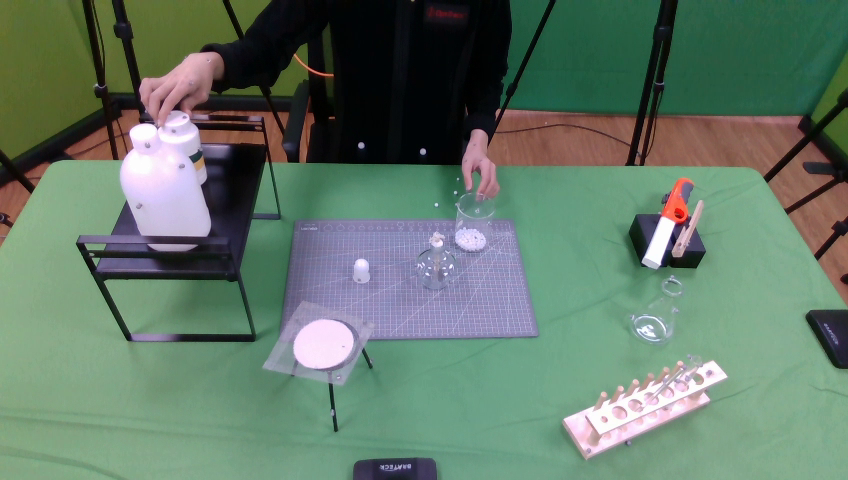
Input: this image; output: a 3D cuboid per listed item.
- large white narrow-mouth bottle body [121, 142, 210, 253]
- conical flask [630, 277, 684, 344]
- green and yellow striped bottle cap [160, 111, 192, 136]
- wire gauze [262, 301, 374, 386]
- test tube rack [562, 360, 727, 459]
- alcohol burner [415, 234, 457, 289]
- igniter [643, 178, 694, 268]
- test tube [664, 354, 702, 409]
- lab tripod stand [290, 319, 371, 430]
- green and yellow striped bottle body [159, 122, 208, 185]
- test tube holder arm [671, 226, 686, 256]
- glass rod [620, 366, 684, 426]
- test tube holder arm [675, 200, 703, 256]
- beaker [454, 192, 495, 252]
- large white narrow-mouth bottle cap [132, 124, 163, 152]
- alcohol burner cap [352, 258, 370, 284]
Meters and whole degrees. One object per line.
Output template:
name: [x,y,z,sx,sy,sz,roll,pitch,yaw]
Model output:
large white narrow-mouth bottle body: [-0.378,-0.077,0.875,0.102,0.195,0.101,3,46,-3]
conical flask: [0.408,0.117,1.045,0.075,0.122,0.075,2,46,-2]
green and yellow striped bottle cap: [-0.390,-0.184,0.951,0.045,0.020,0.045,6,43,-5]
wire gauze: [-0.150,0.148,0.873,0.121,0.011,0.124,14,46,12]
test tube rack: [0.341,0.247,0.940,0.243,0.085,0.066,-16,49,-18]
alcohol burner: [0.022,0.033,1.100,0.078,0.120,0.077,1,47,-1]
igniter: [0.488,-0.042,1.205,0.057,0.025,0.276,30,51,11]
test tube: [0.385,0.215,0.906,0.017,0.151,0.017,-1,49,1]
lab tripod stand: [-0.146,0.193,0.923,0.148,0.132,0.147,1,47,-1]
green and yellow striped bottle body: [-0.395,-0.148,0.988,0.063,0.120,0.063,4,44,-4]
test tube holder arm: [0.494,0.001,1.167,0.010,0.015,0.087,1,36,42]
glass rod: [0.322,0.227,0.866,0.008,0.200,0.008,6,51,-7]
test tube holder arm: [0.523,-0.025,1.190,0.013,0.015,0.178,1,36,41]
beaker: [0.097,-0.034,1.180,0.074,0.101,0.084,23,49,17]
large white narrow-mouth bottle cap: [-0.371,-0.138,0.812,0.038,0.024,0.037,3,46,-3]
alcohol burner cap: [-0.117,0.055,1.118,0.034,0.048,0.033,2,46,-2]
